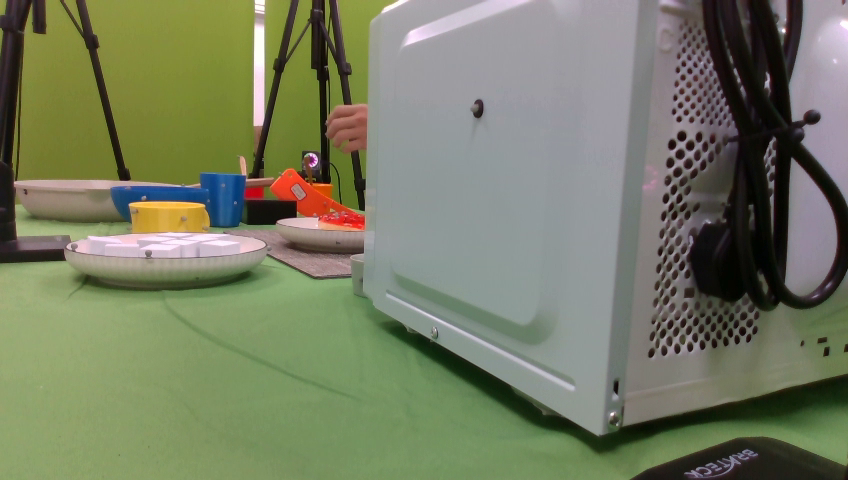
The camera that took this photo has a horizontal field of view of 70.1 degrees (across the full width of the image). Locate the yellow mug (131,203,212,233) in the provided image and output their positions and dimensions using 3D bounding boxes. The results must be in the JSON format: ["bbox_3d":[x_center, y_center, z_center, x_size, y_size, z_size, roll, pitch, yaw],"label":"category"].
[{"bbox_3d":[-0.356,-0.020,0.878,0.099,0.064,0.131,5,7,22],"label":"yellow mug"}]

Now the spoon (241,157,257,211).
[{"bbox_3d":[-0.432,-0.140,1.472,0.042,0.021,0.193,-1,52,-20],"label":"spoon"}]

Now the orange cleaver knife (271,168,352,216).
[{"bbox_3d":[-0.237,-0.084,1.332,0.212,0.077,0.012,31,-10,-32],"label":"orange cleaver knife"}]

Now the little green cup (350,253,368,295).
[{"bbox_3d":[-0.048,0.035,0.632,0.061,0.038,0.061,3,6,0],"label":"little green cup"}]

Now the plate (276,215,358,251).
[{"bbox_3d":[-0.126,-0.012,0.949,0.209,0.038,0.209,2,7,0],"label":"plate"}]

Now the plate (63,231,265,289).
[{"bbox_3d":[-0.288,0.021,0.687,0.208,0.039,0.207,2,8,0],"label":"plate"}]

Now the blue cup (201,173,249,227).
[{"bbox_3d":[-0.384,-0.077,1.164,0.093,0.100,0.092,2,5,0],"label":"blue cup"}]

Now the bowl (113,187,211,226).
[{"bbox_3d":[-0.436,-0.046,1.013,0.151,0.077,0.151,2,7,0],"label":"bowl"}]

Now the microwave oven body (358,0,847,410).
[{"bbox_3d":[0.210,-0.051,0.471,0.444,0.260,0.324,-1,7,-28],"label":"microwave oven body"}]

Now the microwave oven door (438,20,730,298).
[{"bbox_3d":[0.181,-0.076,0.618,0.358,0.243,0.039,-2,8,-28],"label":"microwave oven door"}]

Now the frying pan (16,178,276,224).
[{"bbox_3d":[-0.554,-0.096,1.266,0.490,0.102,0.305,-10,13,-24],"label":"frying pan"}]

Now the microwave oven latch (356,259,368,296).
[{"bbox_3d":[-0.019,0.031,0.528,0.079,0.029,0.030,-1,7,-25],"label":"microwave oven latch"}]

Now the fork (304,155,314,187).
[{"bbox_3d":[-0.268,-0.134,1.446,0.028,0.018,0.207,1,-36,-2],"label":"fork"}]

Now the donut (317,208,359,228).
[{"bbox_3d":[-0.118,-0.024,0.954,0.099,0.048,0.099,6,7,0],"label":"donut"}]
